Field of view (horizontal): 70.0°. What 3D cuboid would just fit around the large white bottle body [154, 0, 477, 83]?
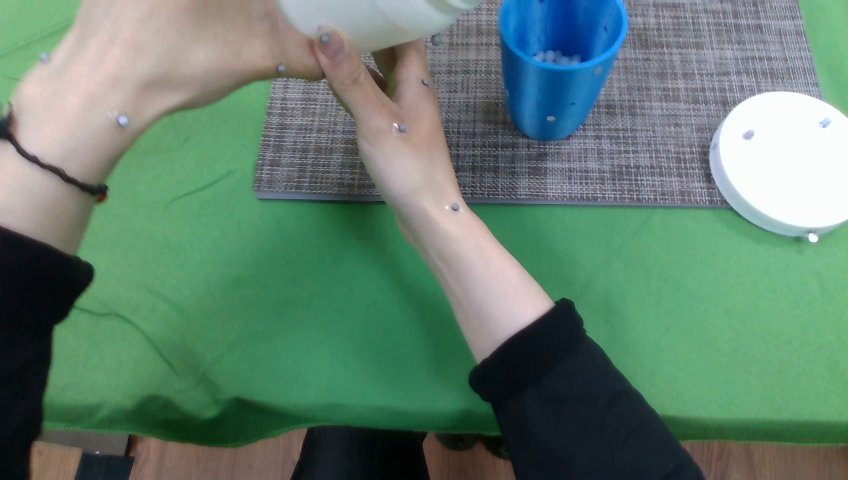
[{"bbox_3d":[-0.053,-0.172,0.345,0.184,0.132,0.130,-5,62,32],"label":"large white bottle body"}]

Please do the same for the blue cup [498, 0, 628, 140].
[{"bbox_3d":[0.095,-0.126,0.445,0.092,0.101,0.092,-2,64,4],"label":"blue cup"}]

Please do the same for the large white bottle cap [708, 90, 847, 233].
[{"bbox_3d":[0.274,-0.061,0.456,0.115,0.018,0.114,0,70,0],"label":"large white bottle cap"}]
